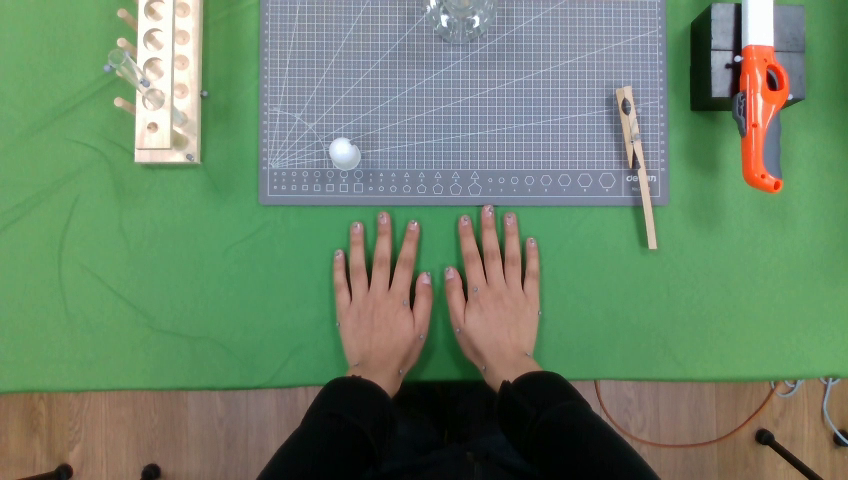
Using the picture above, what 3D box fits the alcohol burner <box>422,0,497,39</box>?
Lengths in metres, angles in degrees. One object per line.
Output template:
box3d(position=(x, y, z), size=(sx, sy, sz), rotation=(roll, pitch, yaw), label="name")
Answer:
box3d(position=(0.037, -0.253, 0.616), size=(0.078, 0.119, 0.078), rotation=(0, 88, 1), label="alcohol burner")

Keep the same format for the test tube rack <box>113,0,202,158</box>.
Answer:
box3d(position=(-0.277, -0.212, 0.623), size=(0.067, 0.085, 0.242), rotation=(0, 88, -1), label="test tube rack")

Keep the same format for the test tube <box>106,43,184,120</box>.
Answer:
box3d(position=(-0.258, -0.145, 0.572), size=(0.017, 0.150, 0.017), rotation=(0, 81, -3), label="test tube")

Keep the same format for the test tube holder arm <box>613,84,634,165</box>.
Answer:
box3d(position=(0.220, -0.126, 0.664), size=(0.010, 0.015, 0.088), rotation=(-11, 91, 22), label="test tube holder arm")

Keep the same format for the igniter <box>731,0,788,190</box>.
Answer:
box3d(position=(0.343, -0.189, 0.620), size=(0.057, 0.025, 0.276), rotation=(2, 85, -4), label="igniter")

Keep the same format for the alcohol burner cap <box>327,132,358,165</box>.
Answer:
box3d(position=(-0.088, -0.099, 0.643), size=(0.034, 0.048, 0.034), rotation=(0, 87, -3), label="alcohol burner cap")

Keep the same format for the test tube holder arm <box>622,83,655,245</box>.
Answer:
box3d(position=(0.234, -0.082, 0.663), size=(0.013, 0.015, 0.178), rotation=(-11, 91, 22), label="test tube holder arm")
